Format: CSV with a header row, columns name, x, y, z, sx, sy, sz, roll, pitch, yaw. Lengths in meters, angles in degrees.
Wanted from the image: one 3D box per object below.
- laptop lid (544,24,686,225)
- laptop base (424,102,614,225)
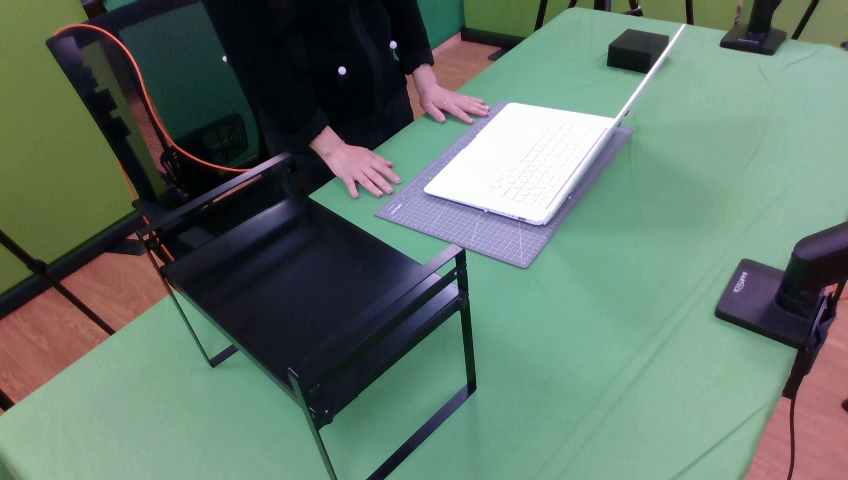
name,x,y,z,sx,sy,sz,roll,pitch,yaw
laptop lid,0.314,-0.191,0.987,0.013,0.241,0.357,35,51,9
laptop base,0.188,-0.156,1.131,0.234,0.023,0.355,16,46,30
